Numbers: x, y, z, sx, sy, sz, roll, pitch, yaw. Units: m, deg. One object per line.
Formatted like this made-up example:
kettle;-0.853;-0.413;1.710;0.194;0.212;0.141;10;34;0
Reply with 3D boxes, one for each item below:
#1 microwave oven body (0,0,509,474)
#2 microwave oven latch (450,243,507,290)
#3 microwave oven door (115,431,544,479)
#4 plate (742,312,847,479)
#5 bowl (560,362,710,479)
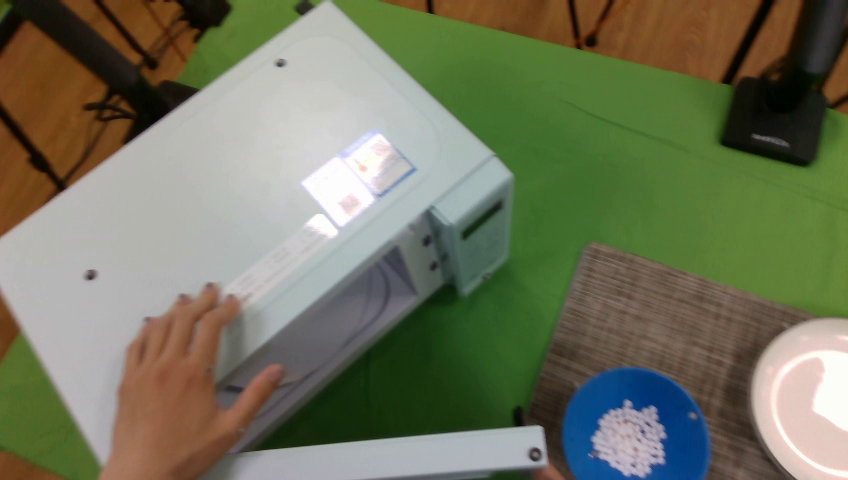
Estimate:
microwave oven body;-0.172;0.006;0.693;0.441;0.262;0.323;-41;71;-9
microwave oven latch;0.069;0.027;0.763;0.079;0.030;0.030;-39;70;-8
microwave oven door;-0.067;0.220;0.594;0.356;0.245;0.039;-7;68;4
plate;0.461;0.185;0.675;0.207;0.039;0.206;-2;69;5
bowl;0.222;0.216;0.667;0.151;0.077;0.150;-2;68;6
